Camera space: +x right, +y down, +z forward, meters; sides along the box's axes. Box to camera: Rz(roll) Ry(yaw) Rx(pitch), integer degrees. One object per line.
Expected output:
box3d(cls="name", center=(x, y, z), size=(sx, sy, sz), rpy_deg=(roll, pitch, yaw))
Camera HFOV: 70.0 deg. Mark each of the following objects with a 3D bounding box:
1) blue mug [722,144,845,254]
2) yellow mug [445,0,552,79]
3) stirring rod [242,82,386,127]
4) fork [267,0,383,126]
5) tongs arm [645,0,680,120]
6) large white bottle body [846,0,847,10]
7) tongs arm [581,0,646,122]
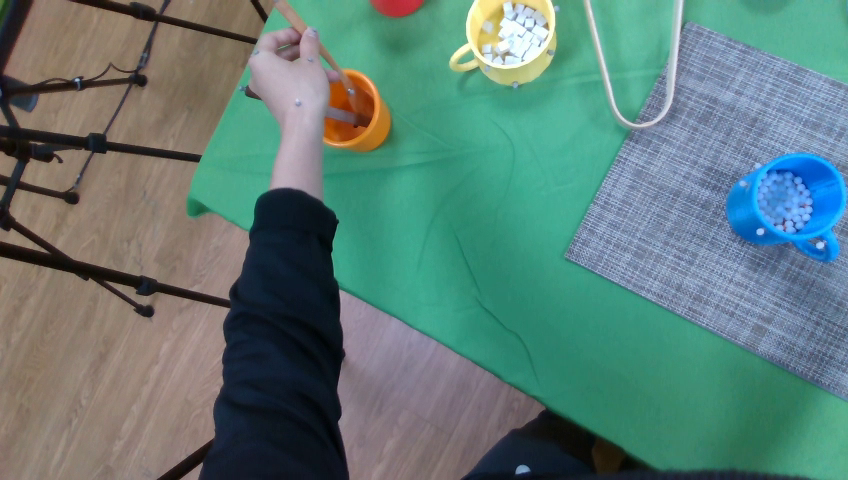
box3d(cls="blue mug", center=(0.370, -0.034, 0.614), size=(0.082, 0.106, 0.116), rpy_deg=(-38, 81, 9))
box3d(cls="yellow mug", center=(0.084, -0.239, 0.708), size=(0.131, 0.064, 0.099), rpy_deg=(-25, 84, 12))
box3d(cls="stirring rod", center=(-0.126, -0.159, 0.715), size=(0.177, 0.006, 0.014), rpy_deg=(8, 90, -29))
box3d(cls="fork", center=(-0.112, -0.205, 0.692), size=(0.028, 0.210, 0.018), rpy_deg=(-51, 45, -8))
box3d(cls="tongs arm", center=(0.270, -0.329, 0.665), size=(0.028, 0.028, 0.388), rpy_deg=(2, 96, 5))
box3d(cls="large white bottle body", center=(0.494, -0.267, 0.554), size=(0.130, 0.185, 0.130), rpy_deg=(0, 88, 13))
box3d(cls="tongs arm", center=(0.188, -0.319, 0.680), size=(0.051, 0.026, 0.385), rpy_deg=(-12, 93, 9))
